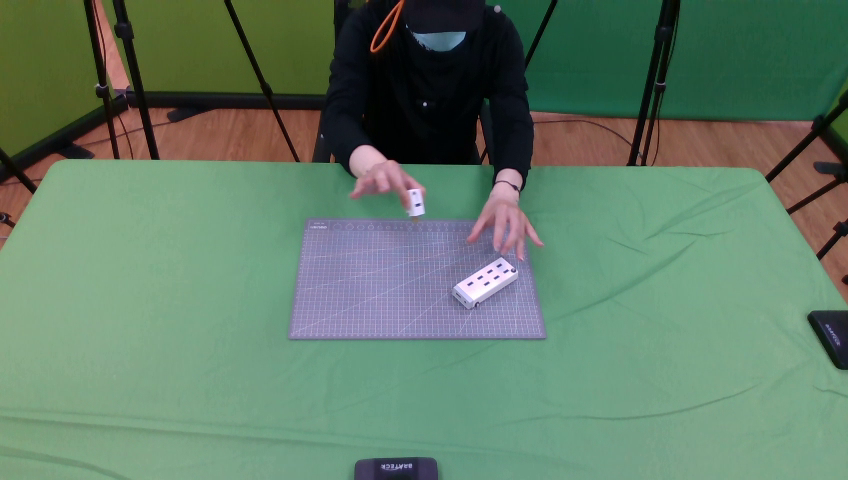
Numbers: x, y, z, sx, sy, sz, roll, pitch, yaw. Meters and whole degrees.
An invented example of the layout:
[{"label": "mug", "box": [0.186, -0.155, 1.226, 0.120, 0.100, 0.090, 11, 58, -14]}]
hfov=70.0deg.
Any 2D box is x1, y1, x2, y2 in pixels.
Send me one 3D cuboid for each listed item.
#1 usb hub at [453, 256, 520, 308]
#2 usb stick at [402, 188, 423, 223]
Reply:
[{"label": "usb hub", "box": [0.117, 0.077, 1.120, 0.125, 0.025, 0.049, -29, 56, -27]}, {"label": "usb stick", "box": [-0.018, -0.059, 1.034, 0.021, 0.059, 0.027, -17, 15, -36]}]
